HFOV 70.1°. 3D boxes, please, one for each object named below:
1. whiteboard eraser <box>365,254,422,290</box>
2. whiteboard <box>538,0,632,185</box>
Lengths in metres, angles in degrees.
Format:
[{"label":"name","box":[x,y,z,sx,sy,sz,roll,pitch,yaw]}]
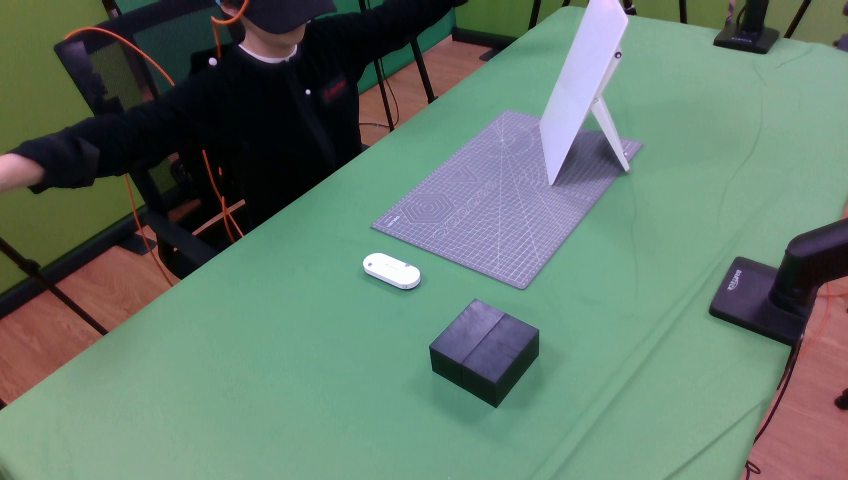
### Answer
[{"label":"whiteboard eraser","box":[-0.047,0.048,0.931,0.100,0.019,0.041,21,49,31]},{"label":"whiteboard","box":[0.327,-0.259,1.055,0.144,0.305,0.216,13,40,-6]}]
